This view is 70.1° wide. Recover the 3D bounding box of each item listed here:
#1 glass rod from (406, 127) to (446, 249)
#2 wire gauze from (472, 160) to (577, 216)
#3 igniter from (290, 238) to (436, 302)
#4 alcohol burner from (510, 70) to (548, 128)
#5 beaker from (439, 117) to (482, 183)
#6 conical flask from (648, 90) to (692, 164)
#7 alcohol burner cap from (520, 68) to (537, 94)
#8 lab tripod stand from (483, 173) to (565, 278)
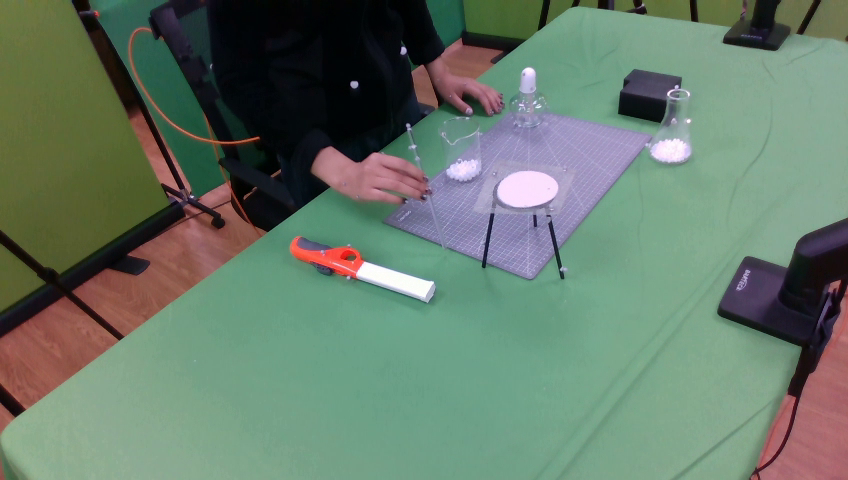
[{"bbox_3d":[0.003,-0.079,0.940,0.008,0.200,0.008,-16,12,4],"label":"glass rod"},{"bbox_3d":[0.143,-0.073,0.850,0.121,0.011,0.125,8,43,22],"label":"wire gauze"},{"bbox_3d":[-0.106,0.043,0.949,0.274,0.025,0.057,16,57,27],"label":"igniter"},{"bbox_3d":[0.209,-0.287,1.208,0.078,0.119,0.077,-5,42,5],"label":"alcohol burner"},{"bbox_3d":[0.068,-0.160,1.097,0.073,0.101,0.084,7,43,19],"label":"beaker"},{"bbox_3d":[0.437,-0.199,1.057,0.075,0.122,0.075,-5,40,5],"label":"conical flask"},{"bbox_3d":[0.205,-0.313,1.183,0.034,0.048,0.033,-3,50,4],"label":"alcohol burner cap"},{"bbox_3d":[0.151,-0.025,0.896,0.148,0.132,0.147,-7,40,6],"label":"lab tripod stand"}]
